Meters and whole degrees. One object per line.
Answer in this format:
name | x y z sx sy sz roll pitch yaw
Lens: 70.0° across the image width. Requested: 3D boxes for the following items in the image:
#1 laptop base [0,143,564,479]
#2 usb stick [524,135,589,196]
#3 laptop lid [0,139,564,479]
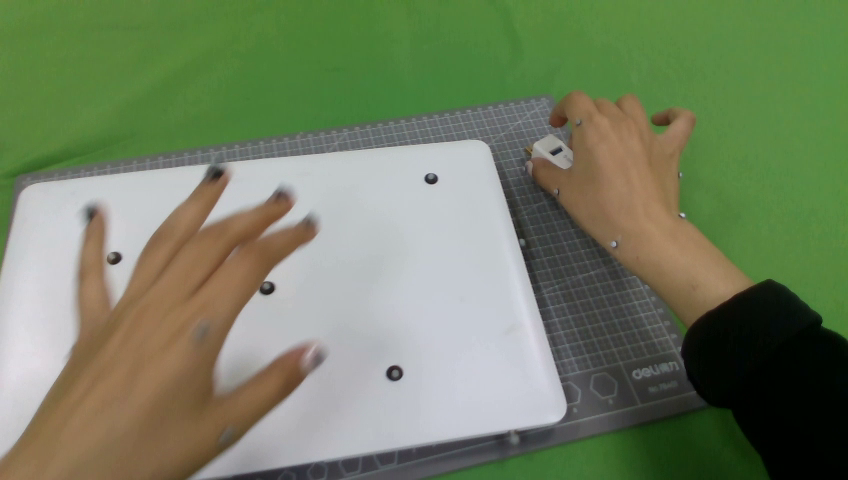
laptop base | -0.104 0.039 0.416 0.355 0.023 0.233 -7 59 -7
usb stick | 0.103 -0.064 0.484 0.021 0.027 0.058 -30 54 -18
laptop lid | -0.103 0.034 0.405 0.357 0.013 0.239 -5 58 -6
